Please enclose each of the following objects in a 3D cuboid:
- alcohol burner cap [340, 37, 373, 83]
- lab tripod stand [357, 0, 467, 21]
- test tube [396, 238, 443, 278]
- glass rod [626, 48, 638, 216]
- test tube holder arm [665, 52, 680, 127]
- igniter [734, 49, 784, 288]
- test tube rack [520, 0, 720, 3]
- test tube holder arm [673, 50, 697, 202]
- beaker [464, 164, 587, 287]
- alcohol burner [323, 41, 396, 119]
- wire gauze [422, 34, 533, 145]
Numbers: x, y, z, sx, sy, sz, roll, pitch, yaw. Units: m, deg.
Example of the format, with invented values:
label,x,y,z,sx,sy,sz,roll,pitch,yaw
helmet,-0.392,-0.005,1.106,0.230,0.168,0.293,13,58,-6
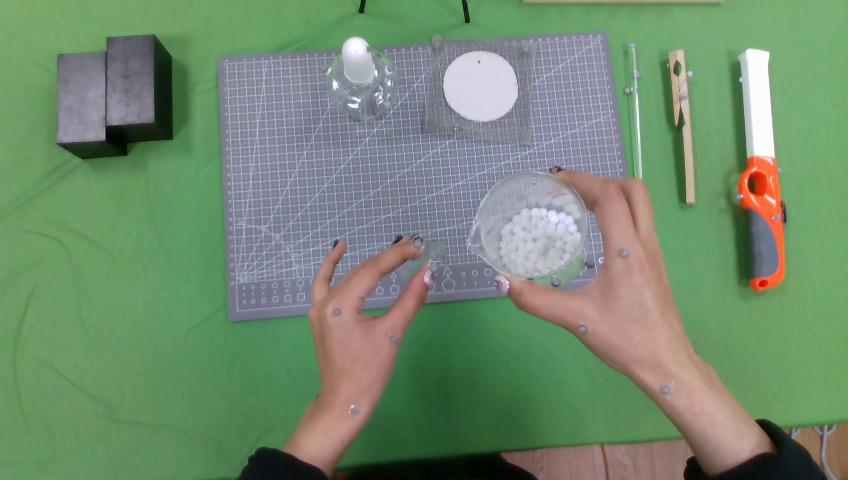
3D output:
label,x,y,z,sx,sy,sz,roll,pitch,yaw
alcohol burner cap,-0.068,-0.181,0.599,0.034,0.048,0.033,1,74,-2
lab tripod stand,-0.010,-0.308,0.652,0.148,0.132,0.148,0,82,-2
test tube,-0.006,0.017,0.495,0.017,0.150,0.017,1,81,-10
glass rod,0.239,-0.125,0.694,0.008,0.008,0.199,1,83,-2
test tube holder arm,0.289,-0.174,0.701,0.010,0.015,0.087,-8,80,33
igniter,0.375,-0.083,0.684,0.057,0.025,0.275,4,80,-12
test tube rack,0.235,-0.324,0.689,0.242,0.085,0.066,-1,80,-2
test tube holder arm,0.296,-0.131,0.691,0.013,0.015,0.177,-10,79,33
beaker,0.079,-0.003,0.442,0.084,0.101,0.073,-19,75,13
alcohol burner,-0.069,-0.173,0.634,0.078,0.119,0.077,0,80,0
wire gauze,0.063,-0.175,0.694,0.125,0.011,0.121,6,81,-2
